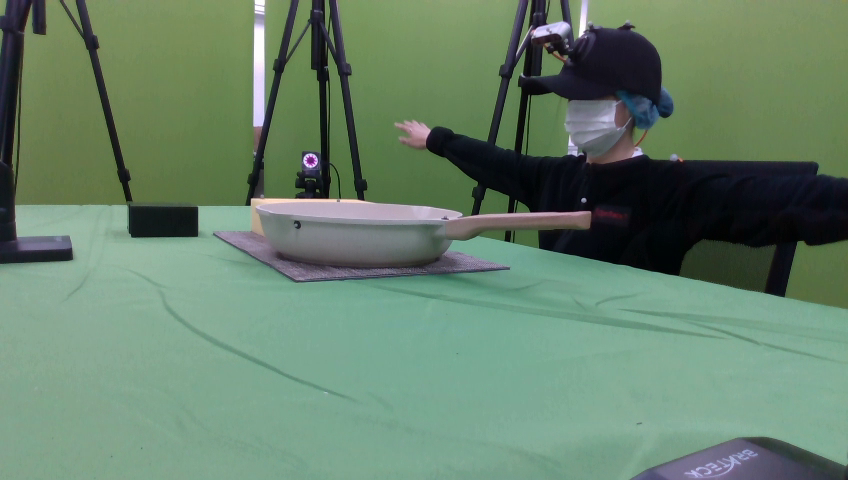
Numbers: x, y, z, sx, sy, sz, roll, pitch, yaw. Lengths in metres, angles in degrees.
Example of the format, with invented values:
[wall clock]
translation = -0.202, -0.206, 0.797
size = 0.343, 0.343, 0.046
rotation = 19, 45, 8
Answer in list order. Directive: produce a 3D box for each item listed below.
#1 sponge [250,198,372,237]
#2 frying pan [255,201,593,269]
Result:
[sponge]
translation = -0.194, -0.040, 1.081
size = 0.208, 0.061, 0.117
rotation = -2, 9, -33
[frying pan]
translation = -0.011, -0.017, 0.802
size = 0.485, 0.102, 0.308
rotation = -2, 4, 39
